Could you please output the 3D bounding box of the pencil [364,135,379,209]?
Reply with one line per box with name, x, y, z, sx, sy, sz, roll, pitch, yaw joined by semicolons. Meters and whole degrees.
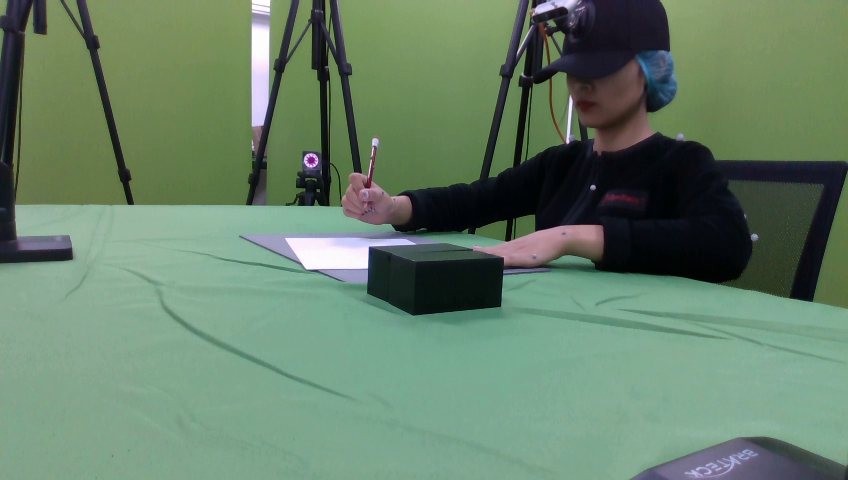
pencil;-0.093;-0.122;1.059;0.012;0.012;0.193;2;47;1
